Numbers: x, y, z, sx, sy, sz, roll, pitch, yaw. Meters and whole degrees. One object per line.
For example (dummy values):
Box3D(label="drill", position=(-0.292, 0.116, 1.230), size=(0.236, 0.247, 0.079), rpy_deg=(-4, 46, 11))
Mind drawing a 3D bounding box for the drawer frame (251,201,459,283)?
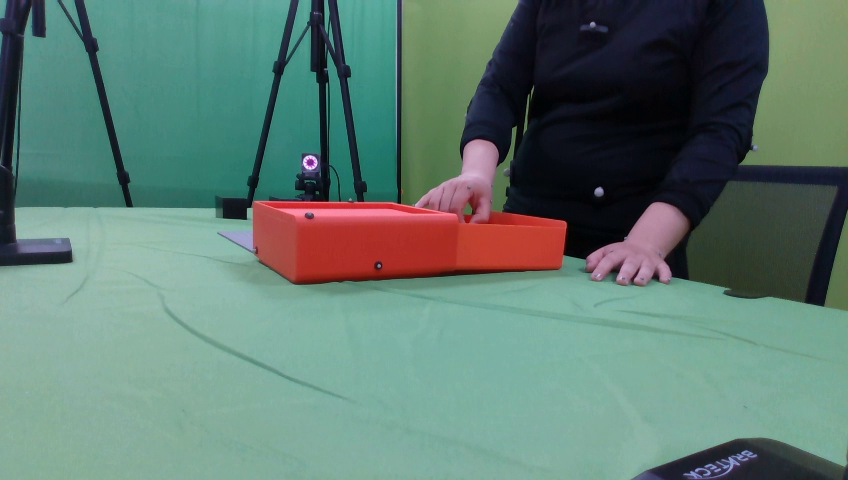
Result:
Box3D(label="drawer frame", position=(-0.095, -0.005, 0.788), size=(0.215, 0.082, 0.200), rpy_deg=(-2, 10, -30))

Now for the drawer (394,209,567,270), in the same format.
Box3D(label="drawer", position=(0.063, -0.006, 0.878), size=(0.213, 0.073, 0.193), rpy_deg=(2, 7, -30))

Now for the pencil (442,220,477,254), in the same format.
Box3D(label="pencil", position=(0.056, -0.009, 0.881), size=(0.012, 0.012, 0.194), rpy_deg=(5, 16, 16))
